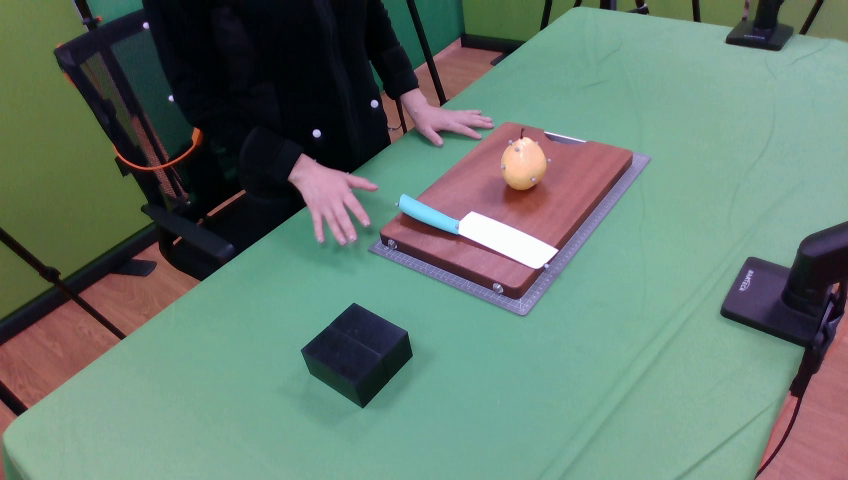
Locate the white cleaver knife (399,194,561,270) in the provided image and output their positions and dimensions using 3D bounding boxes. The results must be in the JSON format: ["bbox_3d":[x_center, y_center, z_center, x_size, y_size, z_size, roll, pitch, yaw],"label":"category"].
[{"bbox_3d":[0.079,-0.019,0.957,0.284,0.021,0.066,26,46,28],"label":"white cleaver knife"}]

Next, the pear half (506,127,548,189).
[{"bbox_3d":[0.174,-0.145,1.011,0.076,0.110,0.056,27,52,30],"label":"pear half"}]

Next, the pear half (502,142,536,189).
[{"bbox_3d":[0.152,-0.119,1.000,0.070,0.088,0.031,28,53,30],"label":"pear half"}]
